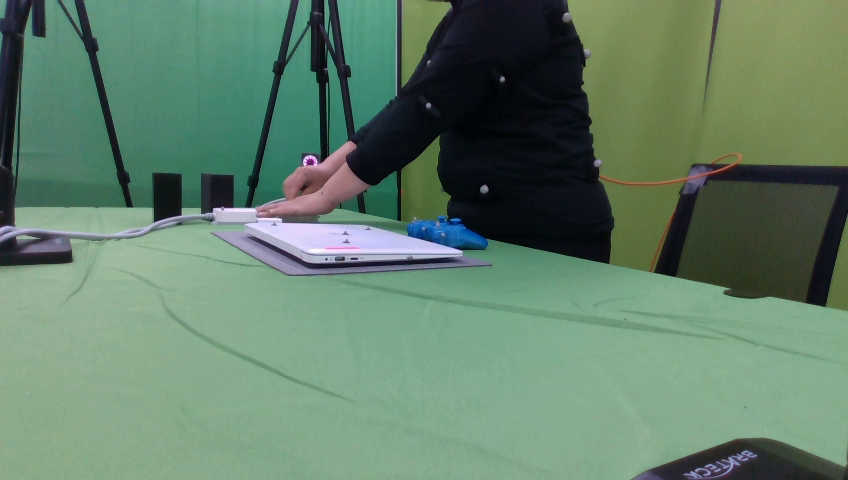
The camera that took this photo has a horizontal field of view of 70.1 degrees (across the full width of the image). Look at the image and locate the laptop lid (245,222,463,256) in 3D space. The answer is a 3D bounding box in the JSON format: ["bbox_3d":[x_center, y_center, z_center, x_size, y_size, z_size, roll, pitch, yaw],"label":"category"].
[{"bbox_3d":[-0.126,-0.005,0.951,0.243,0.013,0.355,1,7,-28],"label":"laptop lid"}]

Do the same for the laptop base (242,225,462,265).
[{"bbox_3d":[-0.129,0.007,0.951,0.237,0.023,0.352,2,6,-30],"label":"laptop base"}]

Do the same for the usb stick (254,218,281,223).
[{"bbox_3d":[-0.296,-0.027,1.114,0.059,0.027,0.021,-4,12,-30],"label":"usb stick"}]

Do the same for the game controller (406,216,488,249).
[{"bbox_3d":[0.035,-0.014,1.067,0.097,0.051,0.154,-8,11,-28],"label":"game controller"}]

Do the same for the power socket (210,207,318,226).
[{"bbox_3d":[-0.335,-0.050,1.281,0.228,0.032,0.072,-1,10,-29],"label":"power socket"}]

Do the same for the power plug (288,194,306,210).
[{"bbox_3d":[-0.282,-0.075,1.342,0.035,0.052,0.072,0,5,-17],"label":"power plug"}]
